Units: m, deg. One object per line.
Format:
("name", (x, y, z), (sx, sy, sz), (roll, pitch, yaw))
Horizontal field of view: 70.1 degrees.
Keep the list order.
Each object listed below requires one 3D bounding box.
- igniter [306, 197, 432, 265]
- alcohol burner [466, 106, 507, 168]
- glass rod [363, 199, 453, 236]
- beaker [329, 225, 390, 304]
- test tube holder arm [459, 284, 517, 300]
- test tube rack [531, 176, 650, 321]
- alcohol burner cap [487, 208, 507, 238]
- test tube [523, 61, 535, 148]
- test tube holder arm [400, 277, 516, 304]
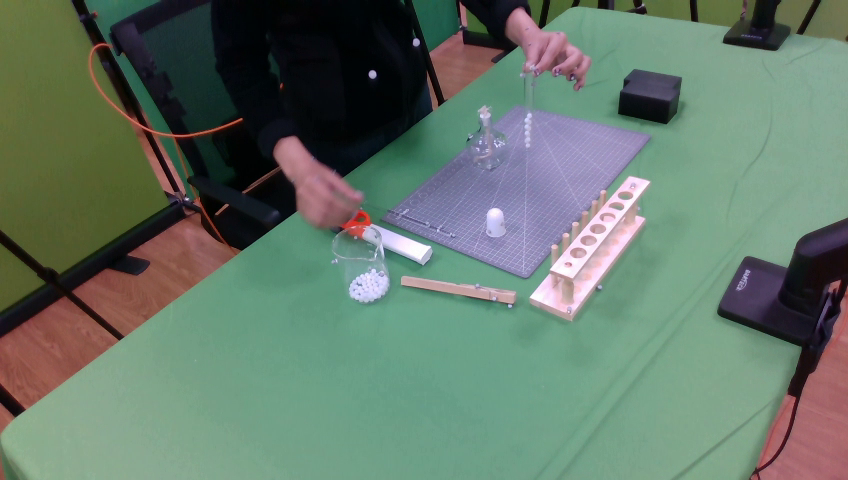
("igniter", (-0.102, -0.020, 1.019), (0.274, 0.025, 0.057), (23, 59, 32))
("alcohol burner", (0.114, -0.193, 1.112), (0.078, 0.119, 0.077), (-4, 41, 4))
("glass rod", (-0.031, -0.041, 1.042), (0.198, 0.008, 0.008), (22, 50, 31))
("beaker", (-0.089, 0.040, 0.890), (0.074, 0.101, 0.083), (-32, 46, -24))
("test tube holder arm", (0.091, 0.077, 0.877), (0.087, 0.015, 0.010), (7, 9, 20))
("test tube rack", (0.246, 0.002, 0.884), (0.066, 0.085, 0.243), (22, 49, 32))
("alcohol burner cap", (0.116, -0.030, 0.975), (0.034, 0.048, 0.033), (-6, 40, 5))
("test tube", (0.165, -0.210, 0.952), (0.017, 0.151, 0.017), (-4, 42, 4))
("test tube holder arm", (0.047, 0.073, 0.887), (0.177, 0.015, 0.013), (7, 9, 19))
